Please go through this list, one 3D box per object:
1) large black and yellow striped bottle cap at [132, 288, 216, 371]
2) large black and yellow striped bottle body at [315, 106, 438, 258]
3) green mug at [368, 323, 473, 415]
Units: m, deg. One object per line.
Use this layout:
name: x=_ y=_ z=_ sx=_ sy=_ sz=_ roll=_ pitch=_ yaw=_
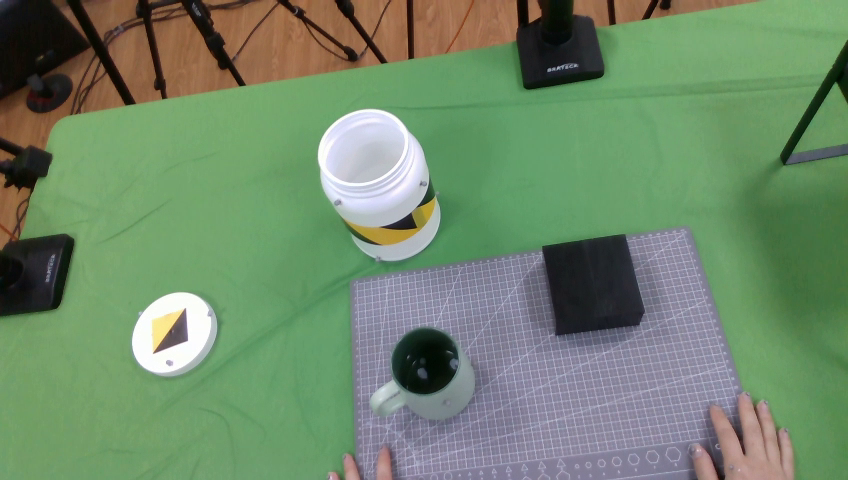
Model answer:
large black and yellow striped bottle cap: x=-0.342 y=0.121 z=0.827 sx=0.115 sy=0.019 sz=0.114 roll=-4 pitch=63 yaw=8
large black and yellow striped bottle body: x=-0.058 y=-0.071 z=0.775 sx=0.130 sy=0.185 sz=0.129 roll=-4 pitch=63 yaw=9
green mug: x=-0.007 y=0.158 z=0.696 sx=0.125 sy=0.106 sz=0.091 roll=-33 pitch=63 yaw=-6
